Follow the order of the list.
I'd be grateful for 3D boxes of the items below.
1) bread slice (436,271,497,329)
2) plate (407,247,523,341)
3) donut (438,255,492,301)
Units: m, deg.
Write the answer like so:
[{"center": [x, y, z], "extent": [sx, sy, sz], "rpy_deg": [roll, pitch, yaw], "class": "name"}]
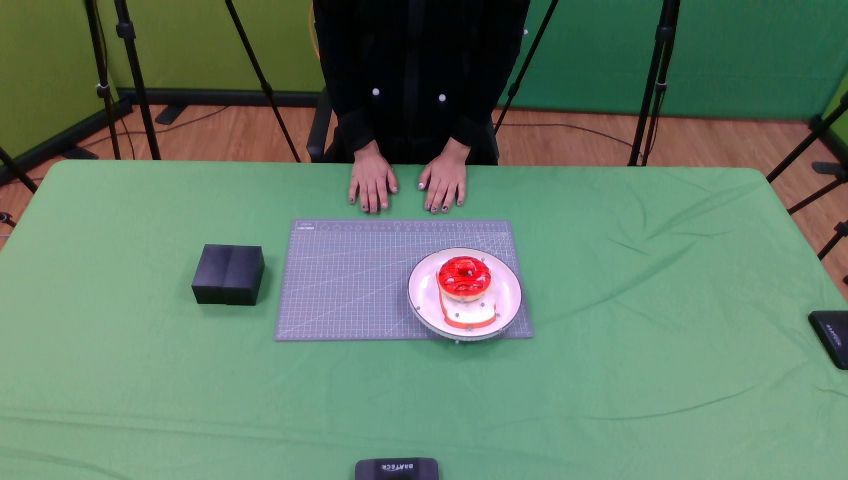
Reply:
[{"center": [0.081, 0.103, 1.092], "extent": [0.105, 0.019, 0.130], "rpy_deg": [-3, 46, -5], "class": "bread slice"}, {"center": [0.073, 0.099, 1.093], "extent": [0.209, 0.038, 0.208], "rpy_deg": [2, 46, -2], "class": "plate"}, {"center": [0.074, 0.066, 1.086], "extent": [0.099, 0.048, 0.098], "rpy_deg": [0, 44, 0], "class": "donut"}]
